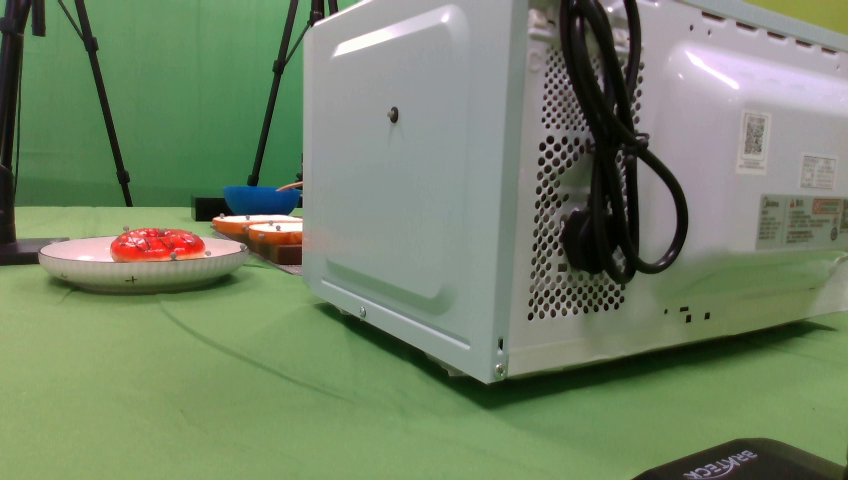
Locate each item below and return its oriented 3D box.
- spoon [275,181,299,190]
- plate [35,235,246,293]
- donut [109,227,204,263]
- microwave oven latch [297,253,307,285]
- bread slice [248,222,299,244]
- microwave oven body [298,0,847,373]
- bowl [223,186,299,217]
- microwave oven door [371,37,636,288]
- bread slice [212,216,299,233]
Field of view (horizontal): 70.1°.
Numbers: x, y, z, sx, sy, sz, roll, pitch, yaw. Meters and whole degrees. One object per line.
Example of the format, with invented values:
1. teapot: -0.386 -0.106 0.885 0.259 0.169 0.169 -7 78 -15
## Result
1. spoon: -0.301 -0.101 1.260 0.041 0.021 0.194 13 30 33
2. plate: -0.305 0.026 0.668 0.208 0.039 0.207 2 7 0
3. donut: -0.298 0.012 0.679 0.099 0.048 0.099 4 10 0
4. microwave oven latch: -0.082 0.027 0.582 0.079 0.029 0.030 -1 7 -32
5. bread slice: -0.174 -0.012 0.844 0.135 0.018 0.106 -6 10 -44
6. microwave oven body: 0.151 -0.055 0.543 0.444 0.260 0.324 -1 7 -33
7. bowl: -0.330 -0.067 1.230 0.151 0.077 0.151 3 7 0
8. microwave oven door: 0.109 -0.080 0.686 0.358 0.243 0.039 -2 9 -33
9. bread slice: -0.256 -0.026 0.936 0.132 0.019 0.104 -4 8 -40
